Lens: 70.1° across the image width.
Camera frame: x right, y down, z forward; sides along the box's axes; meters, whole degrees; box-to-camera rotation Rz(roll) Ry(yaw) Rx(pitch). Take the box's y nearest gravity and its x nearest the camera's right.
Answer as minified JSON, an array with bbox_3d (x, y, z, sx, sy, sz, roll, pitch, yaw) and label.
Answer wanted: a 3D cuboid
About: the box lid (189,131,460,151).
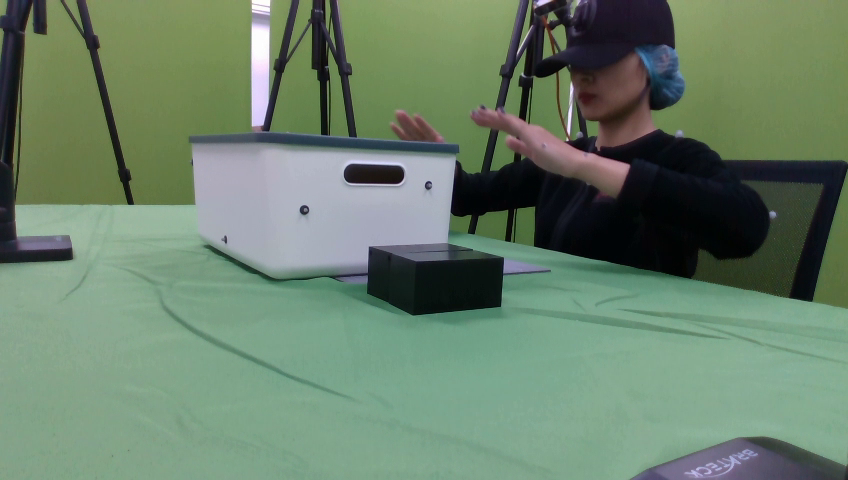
[{"bbox_3d":[-0.150,-0.132,0.828,0.265,0.015,0.369,-3,9,-33],"label":"box lid"}]

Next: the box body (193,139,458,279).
[{"bbox_3d":[-0.154,-0.059,0.840,0.255,0.160,0.362,-2,9,-33],"label":"box body"}]
